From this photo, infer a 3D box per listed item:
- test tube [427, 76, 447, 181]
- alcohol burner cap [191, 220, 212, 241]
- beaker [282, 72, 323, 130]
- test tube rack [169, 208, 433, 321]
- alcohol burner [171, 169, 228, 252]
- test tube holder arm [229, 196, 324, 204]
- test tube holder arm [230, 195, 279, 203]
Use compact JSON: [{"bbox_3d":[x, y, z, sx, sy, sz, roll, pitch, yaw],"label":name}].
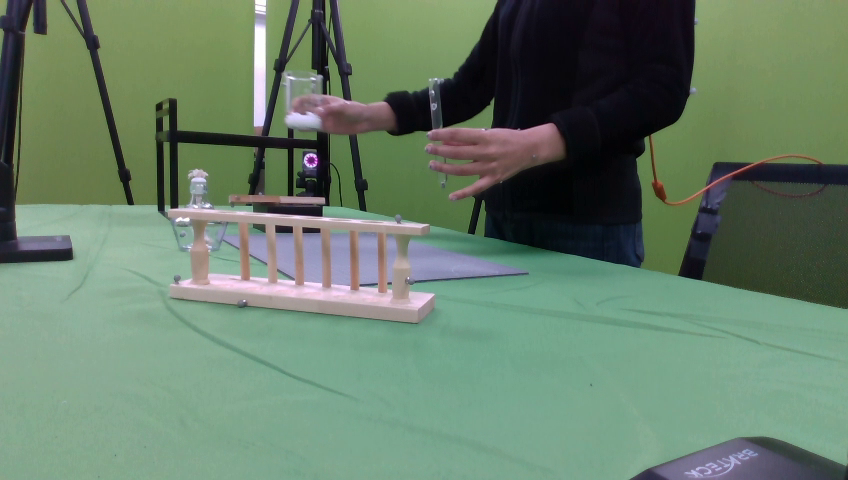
[{"bbox_3d":[0.019,-0.159,0.873,0.017,0.150,0.017,-5,13,2],"label":"test tube"},{"bbox_3d":[-0.364,-0.023,0.988,0.034,0.048,0.034,2,8,0],"label":"alcohol burner cap"},{"bbox_3d":[-0.226,-0.261,1.148,0.083,0.100,0.074,4,7,32],"label":"beaker"},{"bbox_3d":[-0.115,0.018,0.574,0.242,0.085,0.067,4,8,14],"label":"test tube rack"},{"bbox_3d":[-0.325,-0.043,0.875,0.078,0.119,0.078,1,7,0],"label":"alcohol burner"},{"bbox_3d":[-0.275,-0.076,1.142,0.179,0.015,0.013,-1,-3,-31],"label":"test tube holder arm"},{"bbox_3d":[-0.311,-0.075,1.114,0.088,0.015,0.010,-1,-3,-31],"label":"test tube holder arm"}]
